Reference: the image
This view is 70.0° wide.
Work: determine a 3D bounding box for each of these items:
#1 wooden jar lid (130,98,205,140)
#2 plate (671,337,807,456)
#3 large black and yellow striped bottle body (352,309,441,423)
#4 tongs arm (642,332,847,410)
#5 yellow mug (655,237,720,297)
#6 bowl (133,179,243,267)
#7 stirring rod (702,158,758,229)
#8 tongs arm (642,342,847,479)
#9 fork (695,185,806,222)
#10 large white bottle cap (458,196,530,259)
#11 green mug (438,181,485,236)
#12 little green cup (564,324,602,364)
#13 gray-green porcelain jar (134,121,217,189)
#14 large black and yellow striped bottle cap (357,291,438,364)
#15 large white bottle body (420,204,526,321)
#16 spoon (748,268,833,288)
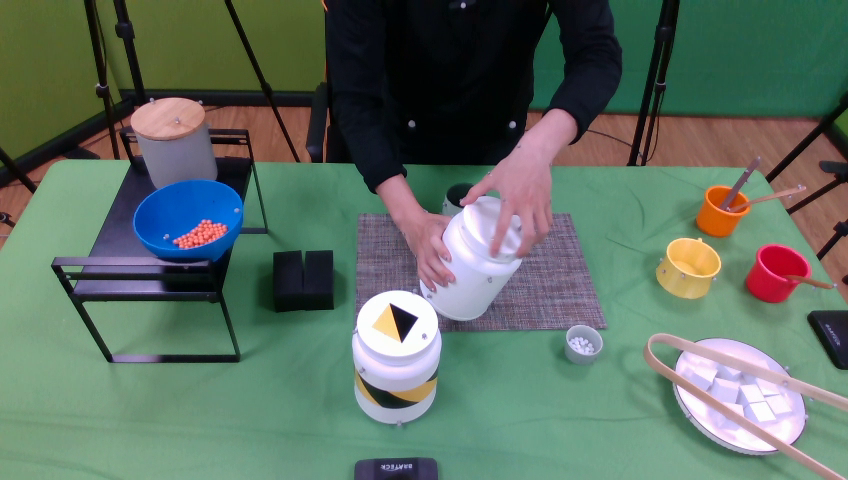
[{"bbox_3d":[-0.393,-0.183,0.934,0.108,0.021,0.107,3,44,-2],"label":"wooden jar lid"},{"bbox_3d":[0.504,0.254,0.984,0.208,0.039,0.206,2,46,-2],"label":"plate"},{"bbox_3d":[-0.042,0.178,0.912,0.131,0.185,0.130,2,46,-2],"label":"large black and yellow striped bottle body"},{"bbox_3d":[0.546,0.227,0.968,0.384,0.026,0.050,22,52,13],"label":"tongs arm"},{"bbox_3d":[0.509,0.041,1.167,0.099,0.064,0.130,24,48,18],"label":"yellow mug"},{"bbox_3d":[-0.339,-0.013,0.895,0.151,0.077,0.150,2,46,-2],"label":"bowl"},{"bbox_3d":[0.634,-0.096,1.257,0.014,0.006,0.176,38,97,29],"label":"stirring rod"},{"bbox_3d":[0.504,0.279,0.918,0.386,0.028,0.028,33,59,22],"label":"tongs arm"},{"bbox_3d":[0.657,-0.074,1.229,0.207,0.019,0.028,-23,36,37],"label":"fork"},{"bbox_3d":[0.107,-0.020,0.925,0.115,0.018,0.114,13,48,-14],"label":"large white bottle cap"},{"bbox_3d":[0.072,-0.040,1.178,0.092,0.105,0.124,12,47,7],"label":"green mug"},{"bbox_3d":[0.269,0.179,1.035,0.061,0.039,0.061,3,45,-2],"label":"little green cup"},{"bbox_3d":[-0.397,-0.141,0.979,0.106,0.127,0.105,2,47,-2],"label":"gray-green porcelain jar"},{"bbox_3d":[-0.037,0.121,0.851,0.115,0.019,0.114,1,46,-1],"label":"large black and yellow striped bottle cap"},{"bbox_3d":[0.081,0.032,0.986,0.131,0.185,0.130,13,48,-14],"label":"large white bottle body"},{"bbox_3d":[0.660,0.068,1.097,0.041,0.193,0.021,-4,91,-6],"label":"spoon"}]
